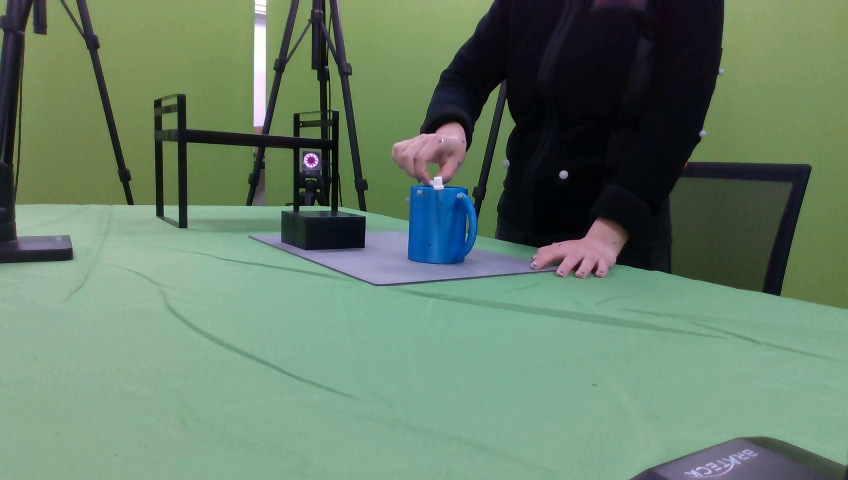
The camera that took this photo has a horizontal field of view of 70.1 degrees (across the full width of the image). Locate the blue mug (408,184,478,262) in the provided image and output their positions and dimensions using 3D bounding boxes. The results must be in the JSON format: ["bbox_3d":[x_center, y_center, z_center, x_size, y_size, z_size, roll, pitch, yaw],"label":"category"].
[{"bbox_3d":[0.031,-0.024,0.843,0.083,0.106,0.116,-4,10,-43],"label":"blue mug"}]

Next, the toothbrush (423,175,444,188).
[{"bbox_3d":[0.011,-0.085,0.854,0.014,0.016,0.181,-17,9,-3],"label":"toothbrush"}]
